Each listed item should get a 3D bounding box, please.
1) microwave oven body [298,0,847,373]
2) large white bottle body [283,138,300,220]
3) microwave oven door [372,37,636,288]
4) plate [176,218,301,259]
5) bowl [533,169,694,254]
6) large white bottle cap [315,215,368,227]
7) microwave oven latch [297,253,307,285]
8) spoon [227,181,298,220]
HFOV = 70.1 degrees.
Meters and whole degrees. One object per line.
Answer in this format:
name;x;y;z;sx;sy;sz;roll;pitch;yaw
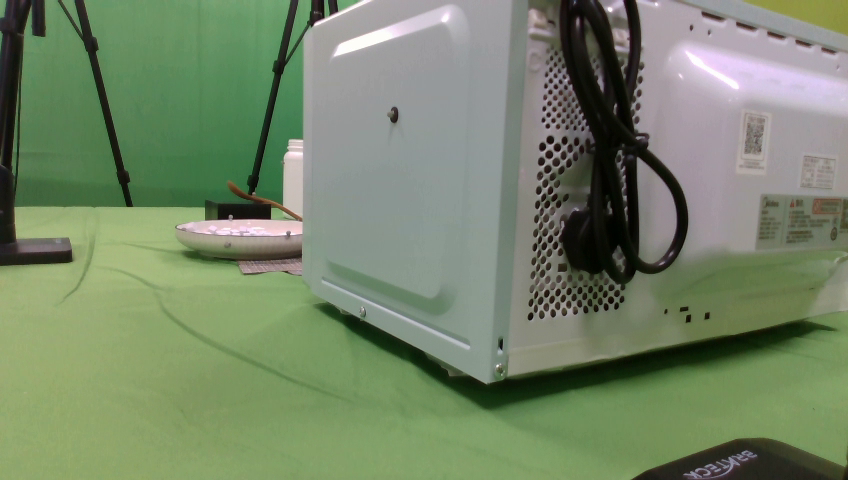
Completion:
microwave oven body;0.151;-0.055;0.542;0.444;0.260;0.324;-1;7;-33
large white bottle body;-0.265;-0.143;1.424;0.131;0.184;0.130;2;7;0
microwave oven door;0.110;-0.080;0.686;0.358;0.243;0.039;-2;9;-33
plate;-0.248;-0.003;0.877;0.209;0.038;0.209;1;8;0
bowl;0.181;-0.030;0.596;0.151;0.077;0.151;1;7;0
large white bottle cap;-0.178;-0.041;1.308;0.115;0.018;0.115;2;6;0
microwave oven latch;-0.082;0.027;0.582;0.079;0.029;0.030;-1;7;-33
spoon;-0.315;-0.074;1.234;0.195;0.021;0.041;24;-9;-37
